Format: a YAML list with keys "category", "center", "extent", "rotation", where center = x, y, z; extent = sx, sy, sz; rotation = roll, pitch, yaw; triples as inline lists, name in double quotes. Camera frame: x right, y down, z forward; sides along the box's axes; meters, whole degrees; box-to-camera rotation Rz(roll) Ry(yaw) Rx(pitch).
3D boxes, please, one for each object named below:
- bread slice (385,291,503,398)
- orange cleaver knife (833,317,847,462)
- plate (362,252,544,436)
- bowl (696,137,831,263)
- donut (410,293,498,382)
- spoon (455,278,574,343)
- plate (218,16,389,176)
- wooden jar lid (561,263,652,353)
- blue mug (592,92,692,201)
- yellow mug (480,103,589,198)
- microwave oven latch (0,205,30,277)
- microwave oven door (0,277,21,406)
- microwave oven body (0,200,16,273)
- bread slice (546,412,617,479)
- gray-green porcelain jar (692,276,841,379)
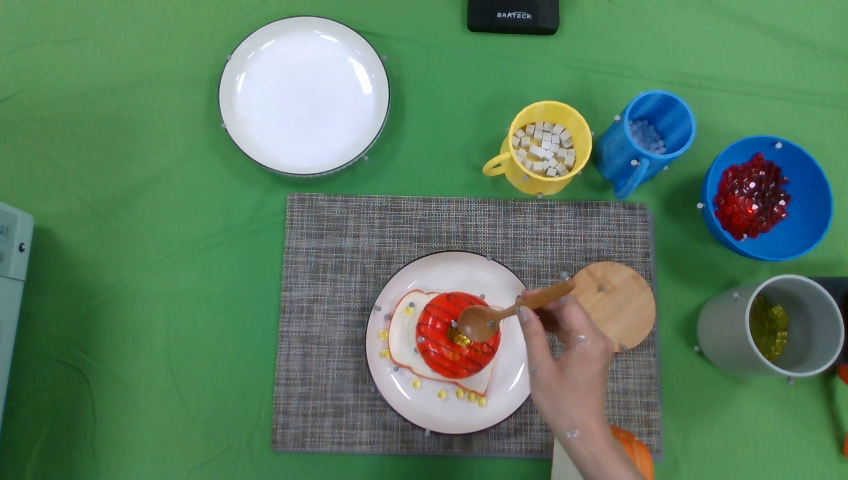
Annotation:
- category: "bread slice"
  center: [0.020, 0.116, 0.703]
  extent: [0.132, 0.019, 0.104]
  rotation: [15, 78, -2]
- category: "orange cleaver knife"
  center: [0.500, 0.153, 0.696]
  extent: [0.012, 0.076, 0.212]
  rotation: [-1, 108, -2]
- category: "plate"
  center: [0.033, 0.118, 0.700]
  extent: [0.209, 0.038, 0.208]
  rotation: [1, 79, -2]
- category: "bowl"
  center: [0.392, -0.040, 0.732]
  extent: [0.151, 0.077, 0.150]
  rotation: [0, 79, -2]
- category: "donut"
  center: [0.033, 0.108, 0.674]
  extent: [0.099, 0.048, 0.098]
  rotation: [1, 77, -3]
- category: "spoon"
  center: [0.081, 0.069, 0.579]
  extent: [0.021, 0.194, 0.041]
  rotation: [-29, 86, -28]
- category: "plate"
  center: [-0.147, -0.175, 0.753]
  extent: [0.208, 0.039, 0.206]
  rotation: [1, 79, -3]
- category: "wooden jar lid"
  center: [0.217, 0.082, 0.726]
  extent: [0.108, 0.021, 0.108]
  rotation: [1, 80, -2]
- category: "blue mug"
  center: [0.252, -0.101, 0.724]
  extent: [0.082, 0.106, 0.116]
  rotation: [22, 79, 2]
- category: "yellow mug"
  center: [0.130, -0.103, 0.738]
  extent: [0.131, 0.064, 0.099]
  rotation: [-19, 79, -5]
- category: "microwave oven latch"
  center: [-0.470, 0.001, 0.684]
  extent: [0.030, 0.029, 0.079]
  rotation: [6, 79, -2]
- category: "microwave oven door"
  center: [-0.478, 0.195, 0.542]
  extent: [0.039, 0.244, 0.354]
  rotation: [2, 78, -2]
- category: "microwave oven body"
  center: [-0.621, 0.147, 0.550]
  extent: [0.326, 0.261, 0.440]
  rotation: [3, 79, -2]
- category: "bread slice"
  center: [0.163, 0.240, 0.638]
  extent: [0.018, 0.134, 0.106]
  rotation: [9, 76, -9]
- category: "gray-green porcelain jar"
  center: [0.373, 0.101, 0.679]
  extent: [0.106, 0.127, 0.105]
  rotation: [1, 78, -2]
